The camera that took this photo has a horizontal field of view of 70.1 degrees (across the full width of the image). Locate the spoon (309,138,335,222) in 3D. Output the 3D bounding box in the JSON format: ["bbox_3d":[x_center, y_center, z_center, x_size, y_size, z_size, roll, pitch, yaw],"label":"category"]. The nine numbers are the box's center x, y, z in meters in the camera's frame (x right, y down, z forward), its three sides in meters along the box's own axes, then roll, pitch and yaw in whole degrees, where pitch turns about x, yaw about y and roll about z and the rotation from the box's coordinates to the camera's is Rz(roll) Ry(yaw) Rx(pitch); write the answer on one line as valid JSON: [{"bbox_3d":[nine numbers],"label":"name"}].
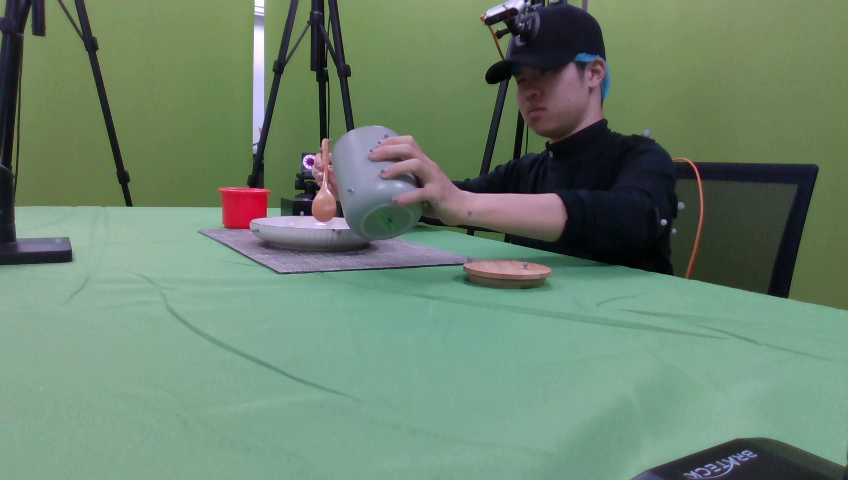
[{"bbox_3d":[-0.171,-0.106,1.025,0.041,0.022,0.193,-10,48,3],"label":"spoon"}]

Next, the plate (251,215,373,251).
[{"bbox_3d":[-0.170,-0.012,0.971,0.208,0.039,0.207,2,7,0],"label":"plate"}]

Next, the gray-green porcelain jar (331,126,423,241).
[{"bbox_3d":[-0.062,-0.071,0.806,0.106,0.105,0.126,-1,52,-24],"label":"gray-green porcelain jar"}]

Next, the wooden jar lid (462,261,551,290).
[{"bbox_3d":[0.100,0.043,0.742,0.108,0.020,0.108,2,6,0],"label":"wooden jar lid"}]
